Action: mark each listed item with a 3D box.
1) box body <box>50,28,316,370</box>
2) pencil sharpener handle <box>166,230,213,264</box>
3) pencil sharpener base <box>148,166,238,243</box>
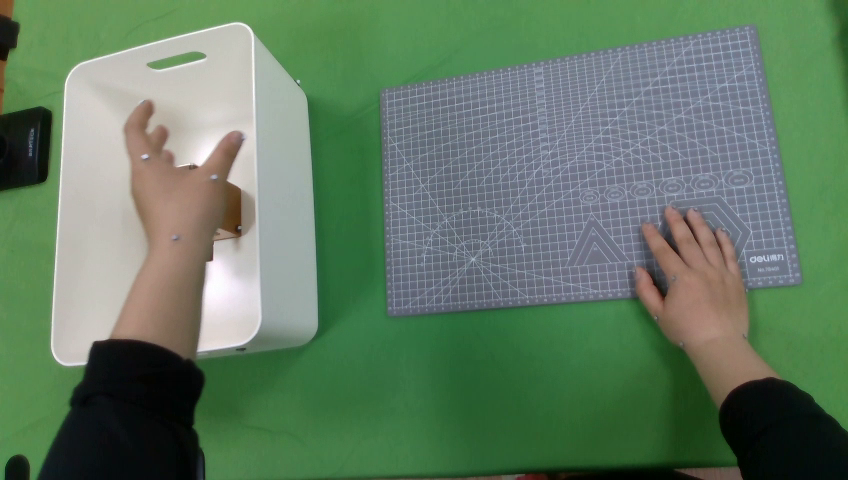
[{"bbox_3d":[-0.278,-0.034,0.734,0.254,0.161,0.362,-9,76,13],"label":"box body"},{"bbox_3d":[-0.282,0.009,0.736,0.036,0.068,0.030,-11,76,21],"label":"pencil sharpener handle"},{"bbox_3d":[-0.286,-0.037,0.759,0.061,0.108,0.076,-9,77,12],"label":"pencil sharpener base"}]
